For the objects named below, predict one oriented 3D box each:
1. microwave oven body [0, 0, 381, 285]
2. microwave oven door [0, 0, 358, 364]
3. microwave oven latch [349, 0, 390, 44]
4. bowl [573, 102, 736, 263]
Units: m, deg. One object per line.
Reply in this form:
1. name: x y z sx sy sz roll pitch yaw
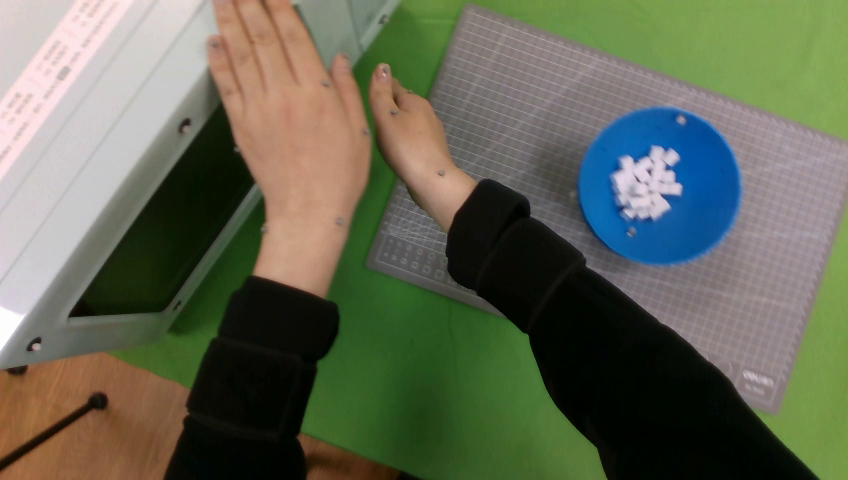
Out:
1. microwave oven body: -0.277 -0.183 0.508 0.326 0.260 0.441 34 87 1
2. microwave oven door: -0.180 -0.067 0.496 0.039 0.244 0.355 34 86 2
3. microwave oven latch: -0.055 -0.239 0.610 0.030 0.029 0.079 36 87 2
4. bowl: 0.213 -0.050 0.596 0.151 0.077 0.151 0 86 0
